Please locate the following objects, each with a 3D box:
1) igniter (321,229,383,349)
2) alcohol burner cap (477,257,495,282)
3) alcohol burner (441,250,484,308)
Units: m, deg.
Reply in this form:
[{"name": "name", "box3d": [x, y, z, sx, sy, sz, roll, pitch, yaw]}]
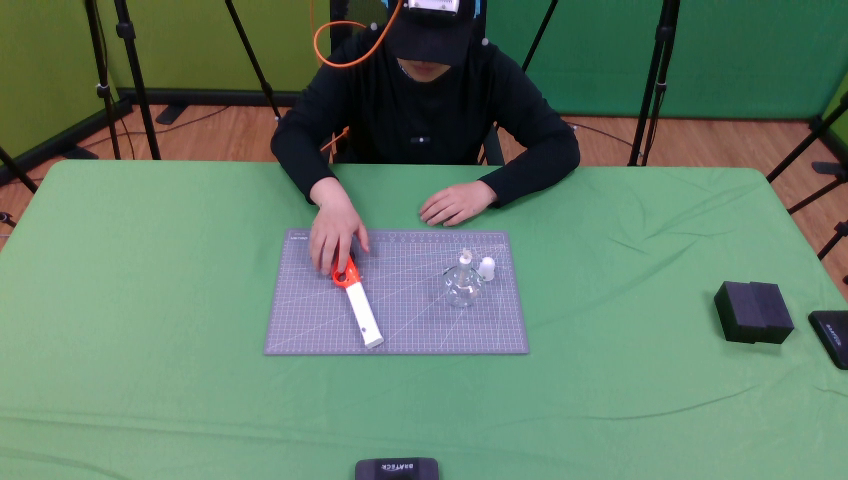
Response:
[{"name": "igniter", "box3d": [-0.134, 0.078, 1.102, 0.057, 0.025, 0.274, -28, 53, 0]}, {"name": "alcohol burner cap", "box3d": [0.118, 0.053, 1.139, 0.034, 0.048, 0.033, 2, 46, -2]}, {"name": "alcohol burner", "box3d": [0.069, 0.064, 1.075, 0.078, 0.120, 0.077, 1, 45, -1]}]
